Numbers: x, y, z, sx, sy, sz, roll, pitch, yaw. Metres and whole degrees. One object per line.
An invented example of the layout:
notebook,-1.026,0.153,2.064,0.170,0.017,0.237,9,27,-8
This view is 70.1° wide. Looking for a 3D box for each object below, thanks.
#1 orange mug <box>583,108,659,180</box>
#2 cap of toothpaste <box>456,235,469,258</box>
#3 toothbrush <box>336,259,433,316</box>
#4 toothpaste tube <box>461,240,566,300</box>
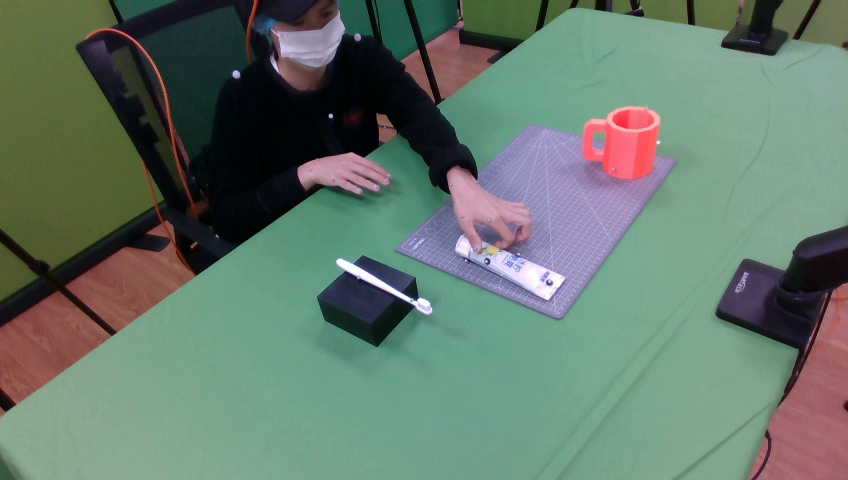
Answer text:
orange mug,0.343,-0.171,1.061,0.126,0.101,0.083,10,43,15
cap of toothpaste,0.062,0.010,0.936,0.011,0.037,0.037,23,48,27
toothbrush,-0.059,0.062,0.840,0.180,0.017,0.014,24,54,33
toothpaste tube,0.125,0.040,0.900,0.164,0.035,0.055,23,55,27
